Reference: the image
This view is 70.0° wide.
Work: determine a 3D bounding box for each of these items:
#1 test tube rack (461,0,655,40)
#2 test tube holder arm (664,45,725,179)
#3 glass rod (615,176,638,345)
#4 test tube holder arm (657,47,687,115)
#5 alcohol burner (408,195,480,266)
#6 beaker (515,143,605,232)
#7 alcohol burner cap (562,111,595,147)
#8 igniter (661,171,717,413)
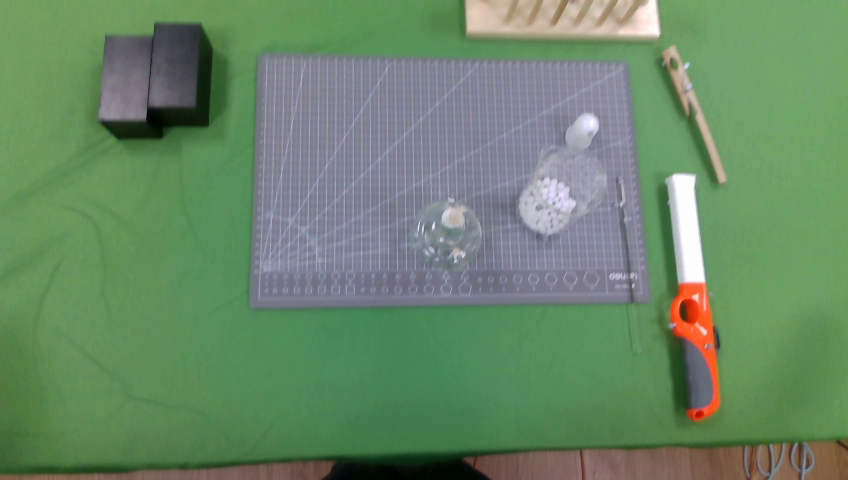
[{"bbox_3d":[0.170,-0.294,0.726,0.243,0.085,0.066,-1,77,-5],"label":"test tube rack"},{"bbox_3d":[0.331,-0.158,0.743,0.013,0.015,0.177,-24,80,24],"label":"test tube holder arm"},{"bbox_3d":[0.233,0.021,0.700,0.008,0.008,0.198,-1,78,-5],"label":"glass rod"},{"bbox_3d":[0.311,-0.197,0.752,0.010,0.015,0.087,-23,80,24],"label":"test tube holder arm"},{"bbox_3d":[0.023,-0.015,0.635,0.078,0.119,0.077,1,75,-4],"label":"alcohol burner"},{"bbox_3d":[0.141,-0.055,0.662,0.074,0.100,0.083,-33,81,-11],"label":"beaker"},{"bbox_3d":[0.184,-0.133,0.712,0.034,0.048,0.033,1,78,-4],"label":"alcohol burner cap"},{"bbox_3d":[0.301,0.055,0.692,0.057,0.025,0.275,2,78,-15],"label":"igniter"}]
